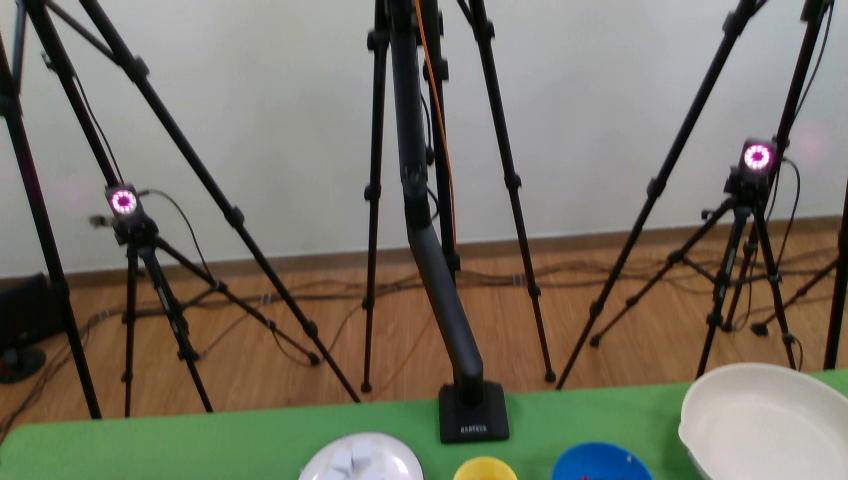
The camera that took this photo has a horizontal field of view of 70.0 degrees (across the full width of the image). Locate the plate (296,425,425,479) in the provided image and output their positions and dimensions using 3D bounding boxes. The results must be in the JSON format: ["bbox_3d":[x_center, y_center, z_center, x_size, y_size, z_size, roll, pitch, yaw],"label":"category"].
[{"bbox_3d":[-0.101,0.394,0.969,0.207,0.039,0.205,-3,38,3],"label":"plate"}]

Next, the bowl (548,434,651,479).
[{"bbox_3d":[0.260,0.379,0.911,0.151,0.077,0.150,-3,39,3],"label":"bowl"}]

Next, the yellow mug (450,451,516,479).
[{"bbox_3d":[0.101,0.394,0.921,0.100,0.064,0.129,-29,44,-26],"label":"yellow mug"}]

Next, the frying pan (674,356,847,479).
[{"bbox_3d":[0.540,0.367,0.869,0.306,0.103,0.484,-1,30,7],"label":"frying pan"}]
